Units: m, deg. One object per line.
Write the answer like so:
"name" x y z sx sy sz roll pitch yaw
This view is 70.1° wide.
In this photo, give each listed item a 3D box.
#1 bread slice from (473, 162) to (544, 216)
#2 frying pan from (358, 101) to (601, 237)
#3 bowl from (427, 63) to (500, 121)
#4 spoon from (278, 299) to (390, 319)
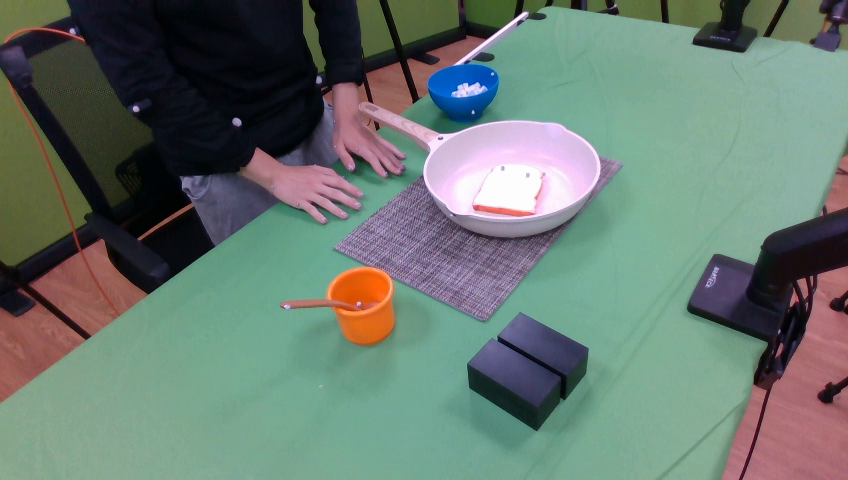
"bread slice" 0.150 -0.089 1.041 0.106 0.018 0.134 7 44 16
"frying pan" 0.067 -0.153 1.067 0.484 0.103 0.308 32 52 26
"bowl" 0.083 -0.301 1.263 0.151 0.077 0.150 -4 41 4
"spoon" -0.113 0.086 0.787 0.041 0.021 0.195 30 8 36
